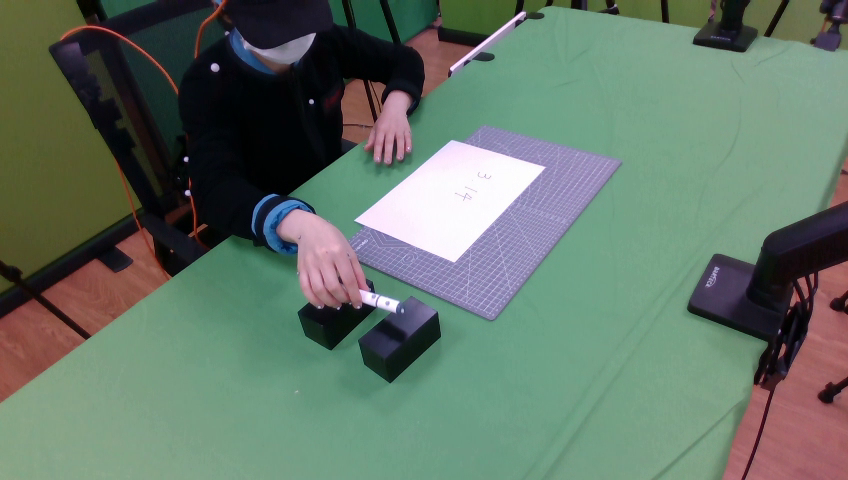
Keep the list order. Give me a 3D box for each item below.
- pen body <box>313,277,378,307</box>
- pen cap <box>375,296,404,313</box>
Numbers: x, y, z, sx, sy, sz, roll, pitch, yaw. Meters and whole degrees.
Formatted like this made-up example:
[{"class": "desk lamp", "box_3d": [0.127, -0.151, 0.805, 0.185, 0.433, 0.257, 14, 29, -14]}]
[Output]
[{"class": "pen body", "box_3d": [-0.094, 0.073, 0.814, 0.143, 0.017, 0.017, 13, 44, 35]}, {"class": "pen cap", "box_3d": [-0.043, 0.084, 0.777, 0.038, 0.017, 0.017, 13, 44, 34]}]
